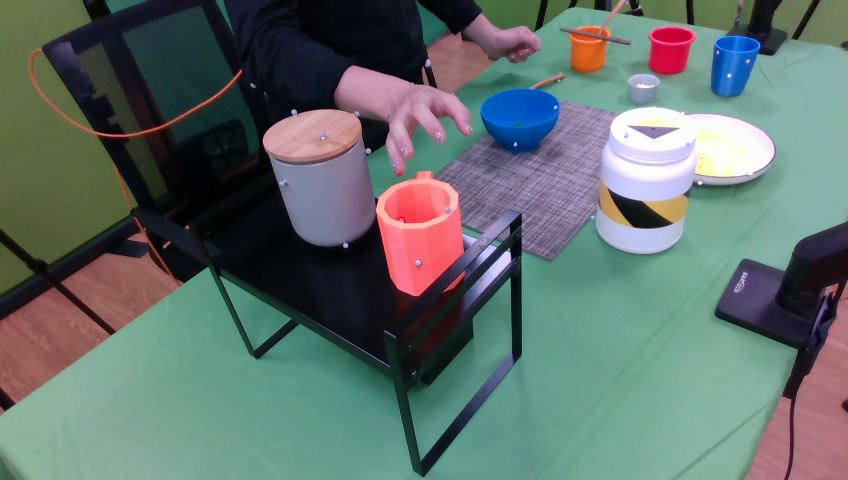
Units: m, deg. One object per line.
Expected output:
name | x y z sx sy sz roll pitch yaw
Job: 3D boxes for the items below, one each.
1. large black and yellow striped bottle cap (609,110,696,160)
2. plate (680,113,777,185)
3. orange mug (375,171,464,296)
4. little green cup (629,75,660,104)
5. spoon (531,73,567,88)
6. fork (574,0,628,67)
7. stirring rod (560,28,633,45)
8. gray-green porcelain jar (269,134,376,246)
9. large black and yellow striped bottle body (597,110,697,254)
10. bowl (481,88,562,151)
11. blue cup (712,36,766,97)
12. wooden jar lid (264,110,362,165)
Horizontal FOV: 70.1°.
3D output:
large black and yellow striped bottle cap | 0.319 -0.150 0.849 0.115 0.019 0.114 -4 39 3
plate | 0.506 -0.158 1.073 0.209 0.038 0.208 -4 40 4
orange mug | -0.001 -0.016 0.662 0.083 0.101 0.125 -2 45 8
little green cup | 0.457 -0.314 1.260 0.061 0.039 0.061 -4 40 4
spoon | 0.249 -0.336 1.332 0.194 0.022 0.041 -32 32 -25
fork | 0.413 -0.481 1.377 0.207 0.019 0.028 -56 43 12
stirring rod | 0.381 -0.452 1.345 0.174 0.006 0.014 26 50 33
gray-green porcelain jar | -0.115 -0.064 0.715 0.106 0.127 0.105 -4 40 4
large black and yellow striped bottle body | 0.331 -0.086 0.904 0.131 0.185 0.130 -5 41 4
bowl | 0.187 -0.223 1.162 0.151 0.077 0.150 -4 40 4
blue cup | 0.627 -0.350 1.227 0.092 0.100 0.092 -4 39 4
wooden jar lid | -0.122 -0.112 0.673 0.108 0.021 0.108 -4 37 4
